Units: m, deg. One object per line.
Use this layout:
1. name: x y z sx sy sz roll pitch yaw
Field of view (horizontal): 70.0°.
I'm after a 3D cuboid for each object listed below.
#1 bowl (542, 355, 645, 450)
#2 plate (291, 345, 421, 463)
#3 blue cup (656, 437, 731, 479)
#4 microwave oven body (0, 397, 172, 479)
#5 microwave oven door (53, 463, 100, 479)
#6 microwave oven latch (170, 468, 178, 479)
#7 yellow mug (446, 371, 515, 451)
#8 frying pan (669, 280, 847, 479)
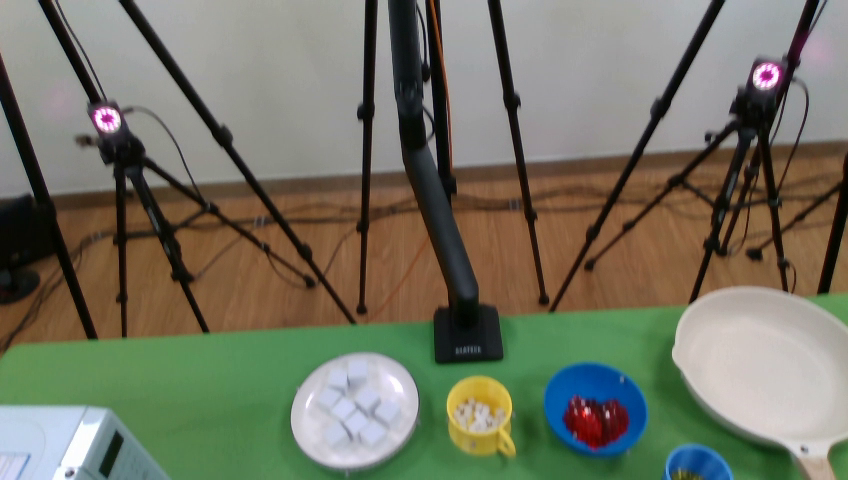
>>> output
1. bowl: 0.254 0.260 0.925 0.151 0.077 0.150 -3 46 3
2. plate: -0.108 0.266 0.982 0.207 0.039 0.205 -3 45 3
3. blue cup: 0.359 0.332 0.828 0.092 0.101 0.091 -2 47 2
4. microwave oven body: -0.545 0.435 0.695 0.326 0.263 0.437 -1 46 4
5. microwave oven door: -0.402 0.459 0.651 0.039 0.246 0.352 -1 46 5
6. microwave oven latch: -0.383 0.373 0.876 0.030 0.030 0.078 2 47 7
7. yellow mug: 0.095 0.273 0.936 0.100 0.064 0.129 -32 52 -23
8. frying pan: 0.534 0.255 0.884 0.306 0.103 0.483 0 38 7
